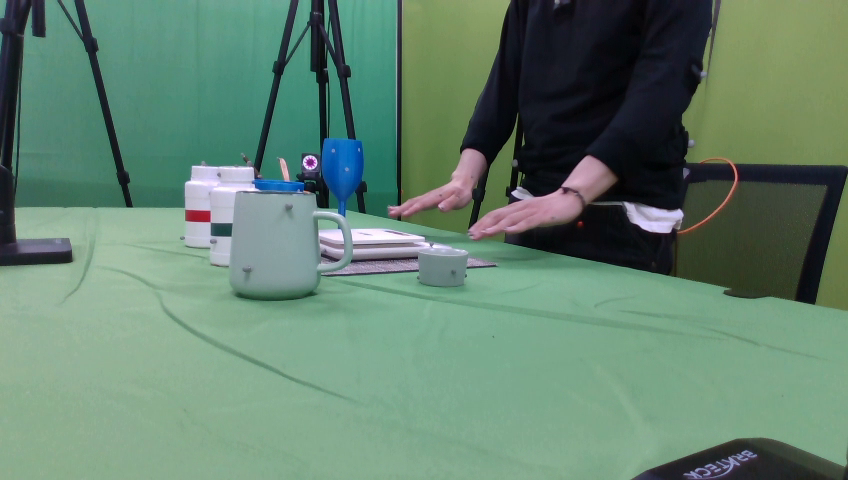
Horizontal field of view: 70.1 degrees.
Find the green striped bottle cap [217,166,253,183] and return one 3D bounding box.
[{"bbox_3d":[-0.242,-0.085,0.777,0.044,0.020,0.044,2,9,0],"label":"green striped bottle cap"}]

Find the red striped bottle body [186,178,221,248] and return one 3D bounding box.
[{"bbox_3d":[-0.331,-0.050,0.927,0.063,0.119,0.063,2,7,0],"label":"red striped bottle body"}]

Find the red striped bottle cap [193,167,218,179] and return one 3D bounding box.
[{"bbox_3d":[-0.329,-0.103,0.921,0.044,0.017,0.044,0,9,0],"label":"red striped bottle cap"}]

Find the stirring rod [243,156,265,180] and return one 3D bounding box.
[{"bbox_3d":[-0.304,-0.099,1.201,0.006,0.177,0.014,-26,37,8],"label":"stirring rod"}]

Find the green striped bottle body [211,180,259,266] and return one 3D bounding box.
[{"bbox_3d":[-0.243,-0.029,0.784,0.063,0.119,0.063,2,7,0],"label":"green striped bottle body"}]

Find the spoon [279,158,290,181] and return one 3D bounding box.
[{"bbox_3d":[-0.281,-0.103,1.251,0.042,0.193,0.021,8,-40,-30],"label":"spoon"}]

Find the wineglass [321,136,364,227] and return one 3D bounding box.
[{"bbox_3d":[-0.138,-0.086,1.020,0.074,0.172,0.073,2,7,0],"label":"wineglass"}]

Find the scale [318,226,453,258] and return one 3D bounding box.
[{"bbox_3d":[-0.067,0.001,0.906,0.202,0.031,0.148,-2,8,-31],"label":"scale"}]

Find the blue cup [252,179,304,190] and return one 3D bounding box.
[{"bbox_3d":[-0.230,-0.040,0.929,0.093,0.100,0.092,4,6,0],"label":"blue cup"}]

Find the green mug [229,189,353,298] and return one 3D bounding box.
[{"bbox_3d":[-0.135,0.002,0.618,0.125,0.105,0.092,2,7,4],"label":"green mug"}]

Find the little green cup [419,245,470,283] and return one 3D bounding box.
[{"bbox_3d":[0.023,0.028,0.712,0.061,0.038,0.061,2,6,0],"label":"little green cup"}]
